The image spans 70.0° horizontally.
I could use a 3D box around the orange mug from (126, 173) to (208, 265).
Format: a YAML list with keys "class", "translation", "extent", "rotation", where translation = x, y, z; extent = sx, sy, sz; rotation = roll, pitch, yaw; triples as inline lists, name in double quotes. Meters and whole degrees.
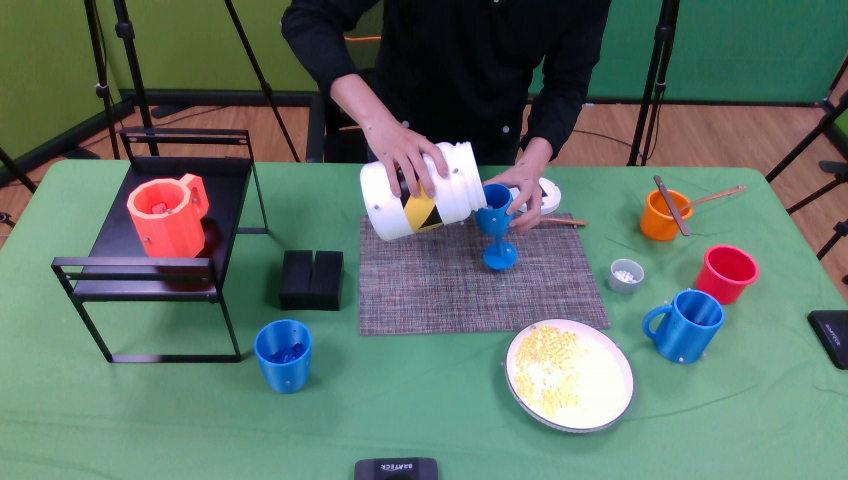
- class: "orange mug"
  translation: [-0.371, -0.039, 0.902]
  extent: [0.083, 0.101, 0.126]
  rotation: [18, 52, 14]

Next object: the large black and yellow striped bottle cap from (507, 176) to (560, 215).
- class: "large black and yellow striped bottle cap"
  translation: [0.237, -0.098, 1.312]
  extent: [0.115, 0.019, 0.114]
  rotation: [2, 42, -2]

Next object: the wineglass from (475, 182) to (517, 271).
- class: "wineglass"
  translation: [0.131, -0.023, 1.080]
  extent: [0.074, 0.173, 0.073]
  rotation: [-5, 53, 7]

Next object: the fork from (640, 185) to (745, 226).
- class: "fork"
  translation: [0.534, -0.069, 1.215]
  extent: [0.207, 0.019, 0.028]
  rotation: [-26, 28, 33]

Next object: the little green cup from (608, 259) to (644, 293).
- class: "little green cup"
  translation: [0.379, 0.070, 1.147]
  extent: [0.061, 0.039, 0.061]
  rotation: [3, 45, -3]

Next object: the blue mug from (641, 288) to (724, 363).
- class: "blue mug"
  translation: [0.432, 0.144, 1.033]
  extent: [0.116, 0.106, 0.082]
  rotation: [8, 46, 5]

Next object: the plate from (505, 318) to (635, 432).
- class: "plate"
  translation: [0.235, 0.221, 0.991]
  extent: [0.209, 0.038, 0.208]
  rotation: [2, 45, -2]

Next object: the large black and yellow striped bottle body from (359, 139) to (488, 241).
- class: "large black and yellow striped bottle body"
  translation: [0.001, -0.084, 0.981]
  extent: [0.184, 0.131, 0.130]
  rotation: [-17, 47, 7]

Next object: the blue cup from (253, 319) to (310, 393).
- class: "blue cup"
  translation: [-0.217, 0.187, 0.943]
  extent: [0.093, 0.101, 0.092]
  rotation: [4, 45, -3]

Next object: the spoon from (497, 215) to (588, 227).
- class: "spoon"
  translation: [0.245, -0.039, 1.247]
  extent: [0.194, 0.022, 0.041]
  rotation: [-1, 27, -6]

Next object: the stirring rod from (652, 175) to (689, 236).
- class: "stirring rod"
  translation: [0.491, -0.072, 1.211]
  extent: [0.014, 0.006, 0.175]
  rotation: [-1, 46, -6]
